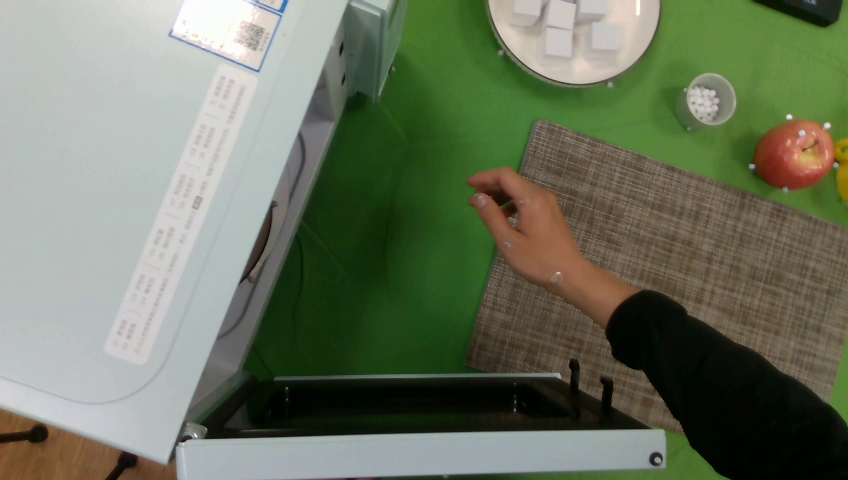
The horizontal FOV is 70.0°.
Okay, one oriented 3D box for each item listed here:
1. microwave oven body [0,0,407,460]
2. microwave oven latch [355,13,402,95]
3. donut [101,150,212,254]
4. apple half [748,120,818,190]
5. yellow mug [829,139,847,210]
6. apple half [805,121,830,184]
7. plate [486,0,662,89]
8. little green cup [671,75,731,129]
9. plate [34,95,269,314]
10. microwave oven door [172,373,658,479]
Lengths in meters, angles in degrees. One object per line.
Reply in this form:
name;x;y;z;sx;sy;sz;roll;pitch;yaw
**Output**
microwave oven body;-0.239;-0.094;0.537;0.327;0.260;0.441;21;86;-6
microwave oven latch;-0.050;-0.201;0.660;0.030;0.029;0.079;24;86;-6
donut;-0.251;-0.035;0.571;0.099;0.048;0.099;1;84;-7
apple half;0.416;-0.098;0.716;0.053;0.074;0.081;-8;92;-2
yellow mug;0.551;-0.086;0.735;0.131;0.064;0.100;29;84;-4
apple half;0.454;-0.104;0.720;0.033;0.081;0.081;-9;88;-2
plate;0.172;-0.277;0.709;0.208;0.039;0.207;0;88;-7
little green cup;0.329;-0.162;0.725;0.061;0.038;0.061;0;87;-6
plate;-0.255;-0.033;0.584;0.209;0.038;0.209;0;89;-8
microwave oven door;-0.011;0.159;0.551;0.356;0.243;0.039;1;86;-7
